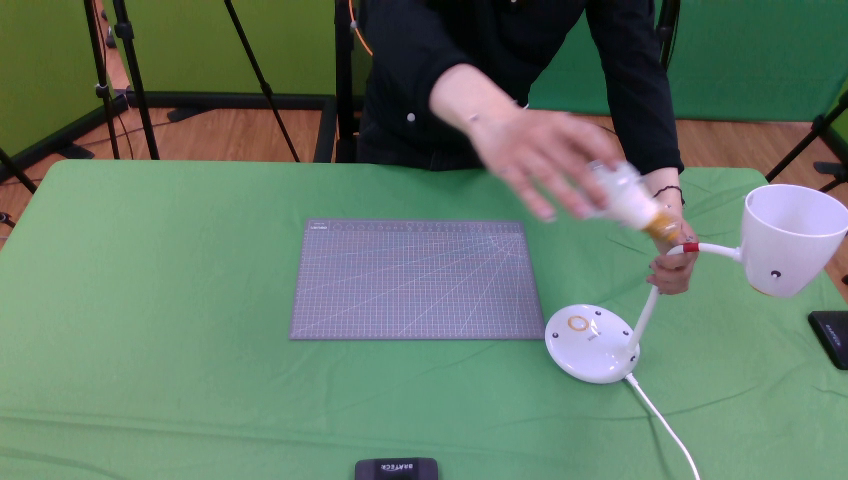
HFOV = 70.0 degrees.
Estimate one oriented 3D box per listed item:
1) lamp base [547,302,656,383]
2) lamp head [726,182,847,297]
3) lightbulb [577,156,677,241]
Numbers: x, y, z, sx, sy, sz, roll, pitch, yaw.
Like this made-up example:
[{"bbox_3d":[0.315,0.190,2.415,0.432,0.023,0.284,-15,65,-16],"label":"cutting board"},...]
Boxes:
[{"bbox_3d":[0.304,0.127,0.982,0.160,0.181,0.178,-33,59,-29],"label":"lamp base"},{"bbox_3d":[0.429,0.007,0.725,0.112,0.123,0.111,0,39,0],"label":"lamp head"},{"bbox_3d":[0.196,-0.036,0.580,0.107,0.059,0.059,38,53,4],"label":"lightbulb"}]
